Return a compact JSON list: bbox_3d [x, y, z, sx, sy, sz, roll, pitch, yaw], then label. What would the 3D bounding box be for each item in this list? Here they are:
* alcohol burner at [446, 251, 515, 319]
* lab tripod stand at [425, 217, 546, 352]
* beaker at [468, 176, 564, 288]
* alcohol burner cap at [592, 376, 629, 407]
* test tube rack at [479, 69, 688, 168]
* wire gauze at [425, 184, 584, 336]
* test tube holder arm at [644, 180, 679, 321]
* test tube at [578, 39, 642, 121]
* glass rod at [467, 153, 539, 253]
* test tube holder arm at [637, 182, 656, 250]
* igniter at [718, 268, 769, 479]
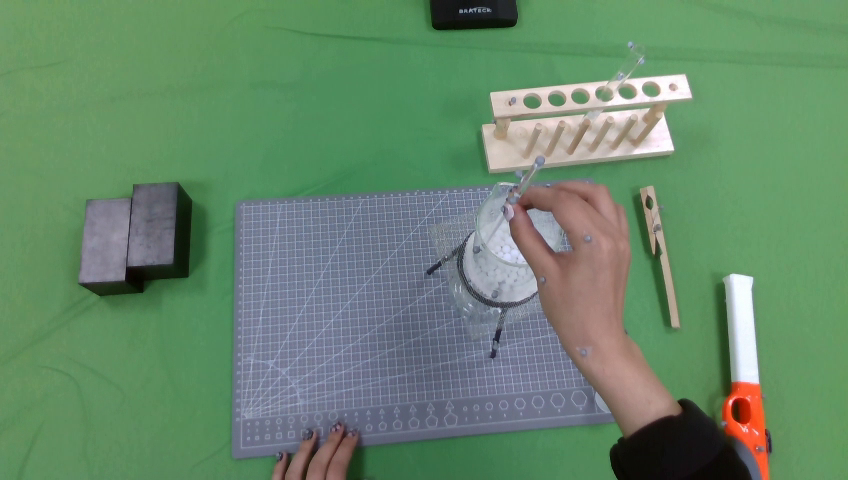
[{"bbox_3d":[0.064,0.045,0.665,0.078,0.120,0.077,1,69,-2],"label":"alcohol burner"},{"bbox_3d":[0.070,0.039,0.656,0.148,0.132,0.147,0,72,-1],"label":"lab tripod stand"},{"bbox_3d":[0.077,-0.003,0.551,0.074,0.101,0.083,-19,72,-7],"label":"beaker"},{"bbox_3d":[0.208,0.165,0.668,0.034,0.048,0.033,1,70,-2],"label":"alcohol burner cap"},{"bbox_3d":[0.197,-0.150,0.757,0.243,0.085,0.066,-6,71,-5],"label":"test tube rack"},{"bbox_3d":[0.077,0.015,0.595,0.121,0.011,0.124,-21,74,-6],"label":"wire gauze"},{"bbox_3d":[0.289,0.011,0.740,0.013,0.015,0.177,-16,70,28],"label":"test tube holder arm"},{"bbox_3d":[0.217,-0.184,0.717,0.017,0.151,0.017,3,69,-8],"label":"test tube"},{"bbox_3d":[0.059,-0.023,0.493,0.008,0.200,0.008,3,70,-8],"label":"glass rod"},{"bbox_3d":[0.280,-0.030,0.756,0.010,0.015,0.087,-15,70,28],"label":"test tube holder arm"},{"bbox_3d":[0.359,0.166,0.687,0.057,0.025,0.275,10,70,-10],"label":"igniter"}]
